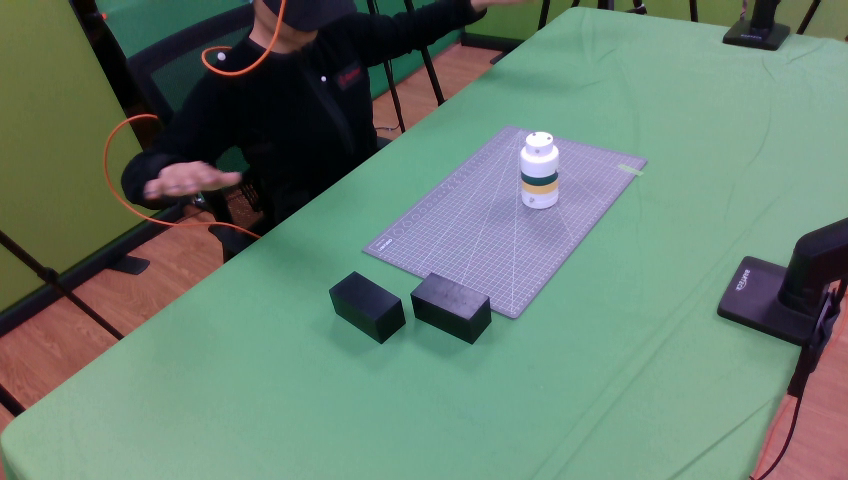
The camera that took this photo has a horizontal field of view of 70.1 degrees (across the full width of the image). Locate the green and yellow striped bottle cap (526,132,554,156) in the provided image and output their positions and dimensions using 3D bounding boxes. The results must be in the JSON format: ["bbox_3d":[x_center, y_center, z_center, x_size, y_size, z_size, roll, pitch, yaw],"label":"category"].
[{"bbox_3d":[0.186,-0.154,0.968,0.045,0.020,0.045,-5,38,5],"label":"green and yellow striped bottle cap"}]

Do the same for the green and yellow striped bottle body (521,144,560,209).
[{"bbox_3d":[0.193,-0.116,1.002,0.063,0.120,0.063,-5,40,5],"label":"green and yellow striped bottle body"}]
